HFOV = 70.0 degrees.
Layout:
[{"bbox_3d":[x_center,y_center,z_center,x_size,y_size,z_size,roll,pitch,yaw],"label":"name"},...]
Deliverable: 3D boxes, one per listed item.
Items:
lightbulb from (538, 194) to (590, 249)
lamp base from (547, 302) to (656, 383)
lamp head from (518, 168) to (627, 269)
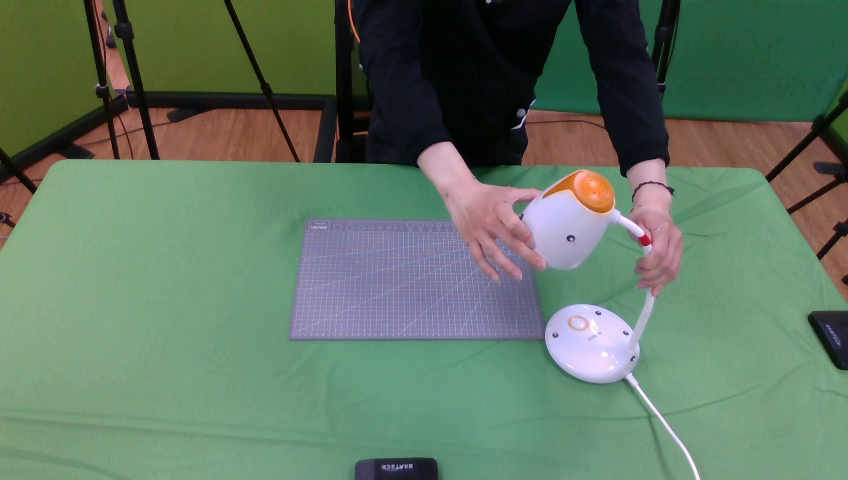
[{"bbox_3d":[0.194,-0.028,0.821,0.059,0.108,0.059,5,61,-10],"label":"lightbulb"},{"bbox_3d":[0.304,0.127,0.982,0.160,0.181,0.178,-33,59,-29],"label":"lamp base"},{"bbox_3d":[0.201,-0.034,0.801,0.113,0.123,0.112,11,57,-18],"label":"lamp head"}]
